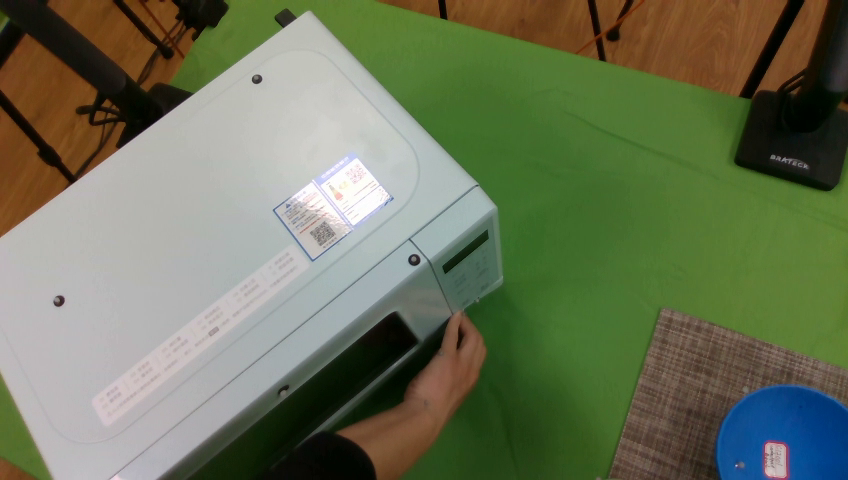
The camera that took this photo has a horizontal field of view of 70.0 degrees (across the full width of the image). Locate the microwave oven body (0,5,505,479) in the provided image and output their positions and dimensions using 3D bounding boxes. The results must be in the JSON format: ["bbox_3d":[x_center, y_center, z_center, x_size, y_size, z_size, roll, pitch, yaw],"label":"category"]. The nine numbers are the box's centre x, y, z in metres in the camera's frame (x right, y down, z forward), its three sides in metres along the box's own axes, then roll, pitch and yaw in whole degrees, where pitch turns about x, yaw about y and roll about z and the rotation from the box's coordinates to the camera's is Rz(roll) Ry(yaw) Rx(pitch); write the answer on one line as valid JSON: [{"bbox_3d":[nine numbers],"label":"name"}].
[{"bbox_3d":[-0.181,0.028,0.670,0.441,0.262,0.323,-39,70,-6],"label":"microwave oven body"}]

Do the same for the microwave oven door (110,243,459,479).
[{"bbox_3d":[-0.123,0.156,0.611,0.356,0.246,0.039,-39,68,-6],"label":"microwave oven door"}]

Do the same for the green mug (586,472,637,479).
[{"bbox_3d":[0.187,0.269,0.531,0.092,0.105,0.124,-39,75,-9],"label":"green mug"}]

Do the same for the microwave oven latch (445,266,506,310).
[{"bbox_3d":[0.061,0.051,0.729,0.079,0.030,0.030,-32,70,-3],"label":"microwave oven latch"}]

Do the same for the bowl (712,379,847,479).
[{"bbox_3d":[0.364,0.222,0.616,0.151,0.077,0.150,-3,70,8],"label":"bowl"}]
